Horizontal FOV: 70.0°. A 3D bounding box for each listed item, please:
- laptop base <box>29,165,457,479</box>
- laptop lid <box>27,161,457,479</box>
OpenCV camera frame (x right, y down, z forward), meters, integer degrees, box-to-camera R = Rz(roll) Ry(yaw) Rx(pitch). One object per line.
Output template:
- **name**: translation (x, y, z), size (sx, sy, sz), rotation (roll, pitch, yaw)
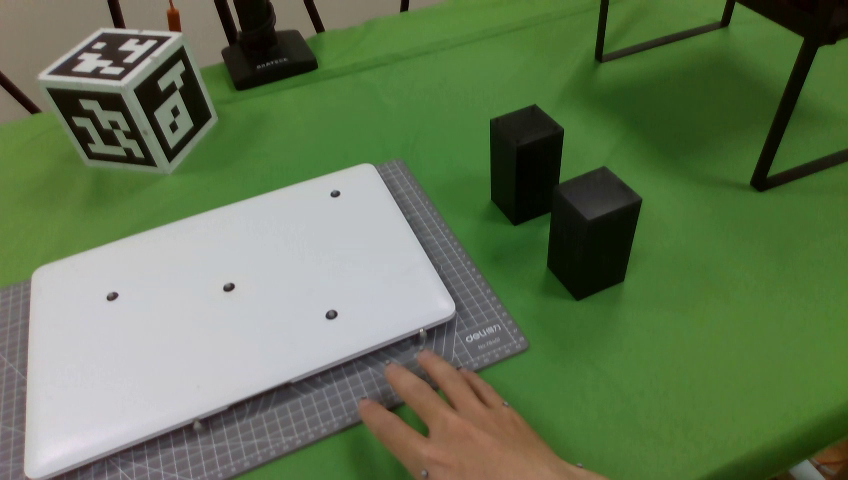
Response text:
- **laptop base**: translation (-0.174, 0.053, 0.563), size (0.355, 0.023, 0.233), rotation (-20, 50, -13)
- **laptop lid**: translation (-0.174, 0.046, 0.552), size (0.357, 0.013, 0.239), rotation (-19, 49, -11)
